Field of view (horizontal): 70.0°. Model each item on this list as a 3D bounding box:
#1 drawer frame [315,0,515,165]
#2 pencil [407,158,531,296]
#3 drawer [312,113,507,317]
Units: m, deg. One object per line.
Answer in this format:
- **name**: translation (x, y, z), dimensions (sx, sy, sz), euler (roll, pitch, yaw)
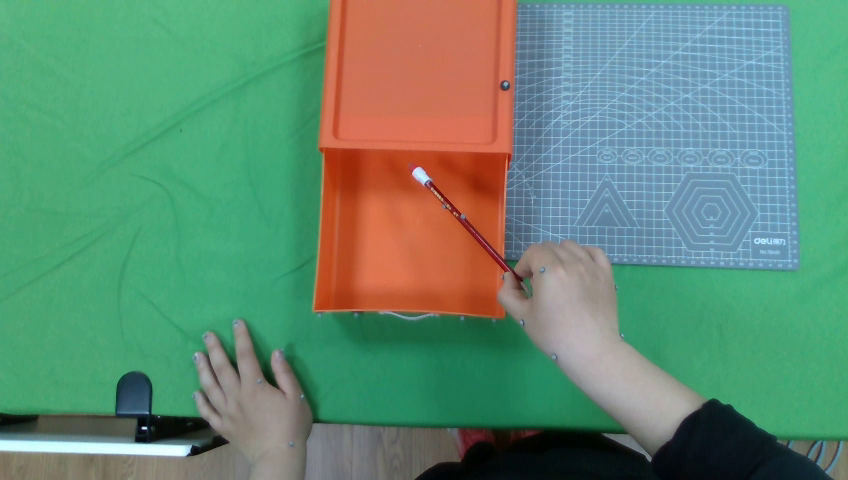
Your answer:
- **drawer frame**: translation (-0.005, -0.189, 0.656), dimensions (0.201, 0.083, 0.213), euler (1, 82, 5)
- **pencil**: translation (0.041, -0.017, 0.589), dimensions (0.012, 0.012, 0.192), euler (-39, 65, -1)
- **drawer**: translation (-0.011, -0.025, 0.639), dimensions (0.194, 0.073, 0.211), euler (1, 85, 6)
